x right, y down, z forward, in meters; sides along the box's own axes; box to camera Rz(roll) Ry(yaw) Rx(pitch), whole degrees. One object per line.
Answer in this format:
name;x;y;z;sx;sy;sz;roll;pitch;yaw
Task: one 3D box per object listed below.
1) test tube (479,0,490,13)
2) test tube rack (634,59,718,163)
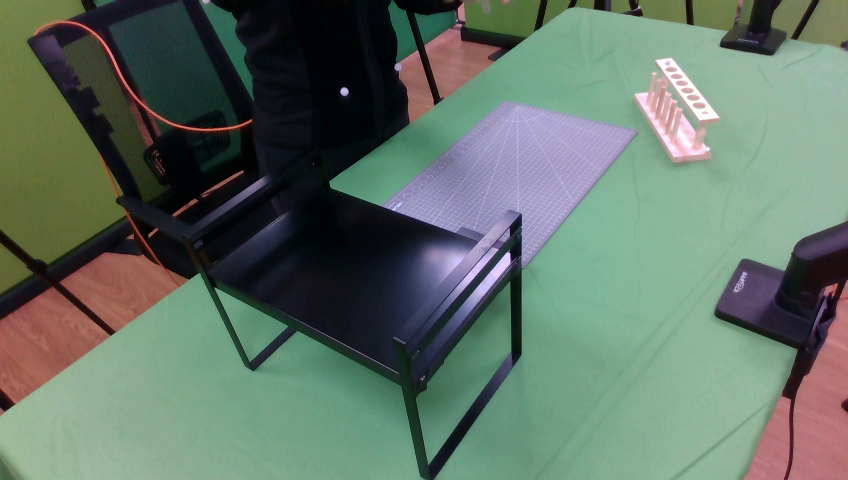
test tube;0.085;-0.401;0.943;0.017;0.151;0.017;-3;77;15
test tube rack;0.470;-0.251;1.148;0.067;0.085;0.241;-6;40;3
